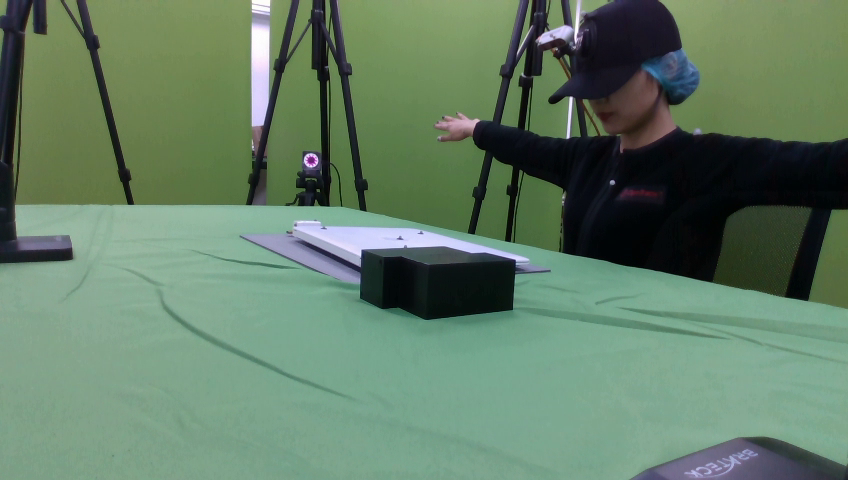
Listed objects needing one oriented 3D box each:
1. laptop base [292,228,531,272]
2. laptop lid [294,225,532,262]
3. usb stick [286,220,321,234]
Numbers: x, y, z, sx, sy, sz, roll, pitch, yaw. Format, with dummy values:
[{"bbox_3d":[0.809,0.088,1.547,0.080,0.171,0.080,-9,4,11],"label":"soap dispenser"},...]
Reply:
[{"bbox_3d":[-0.038,0.013,0.894,0.237,0.023,0.352,2,6,-28],"label":"laptop base"},{"bbox_3d":[-0.035,0.001,0.894,0.243,0.013,0.355,1,7,-26],"label":"laptop lid"},{"bbox_3d":[-0.211,-0.021,1.055,0.059,0.027,0.021,-6,11,-33],"label":"usb stick"}]
